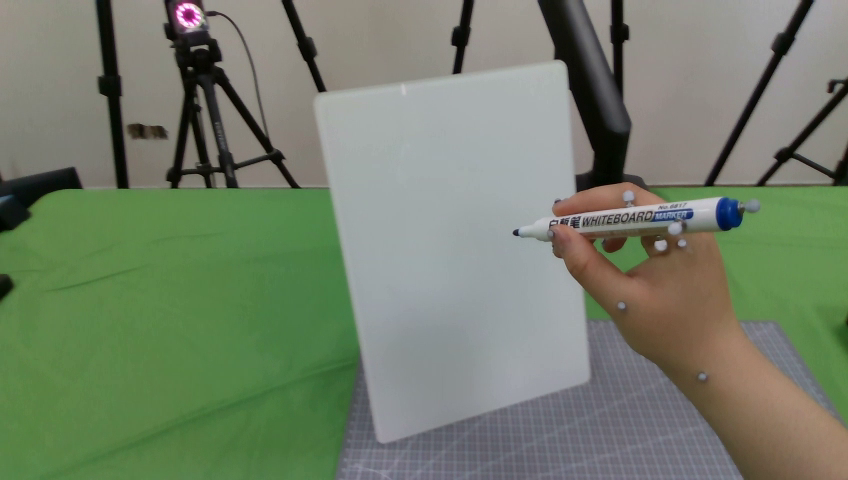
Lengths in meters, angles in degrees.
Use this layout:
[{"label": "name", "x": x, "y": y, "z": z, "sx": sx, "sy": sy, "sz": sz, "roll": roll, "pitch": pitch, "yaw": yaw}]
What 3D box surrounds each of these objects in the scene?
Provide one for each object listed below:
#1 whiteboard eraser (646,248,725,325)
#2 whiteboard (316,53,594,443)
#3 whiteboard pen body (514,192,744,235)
[{"label": "whiteboard eraser", "x": 0.287, "y": 0.051, "z": 0.674, "sx": 0.055, "sy": 0.042, "sz": 0.112, "roll": 0, "pitch": 30, "yaw": 6}, {"label": "whiteboard", "x": 0.022, "y": -0.004, "z": 0.581, "sx": 0.218, "sy": 0.307, "sz": 0.143, "roll": -12, "pitch": 16, "yaw": -14}, {"label": "whiteboard pen body", "x": 0.099, "y": -0.012, "z": 0.326, "sx": 0.017, "sy": 0.017, "sz": 0.140, "roll": -28, "pitch": 14, "yaw": -34}]
